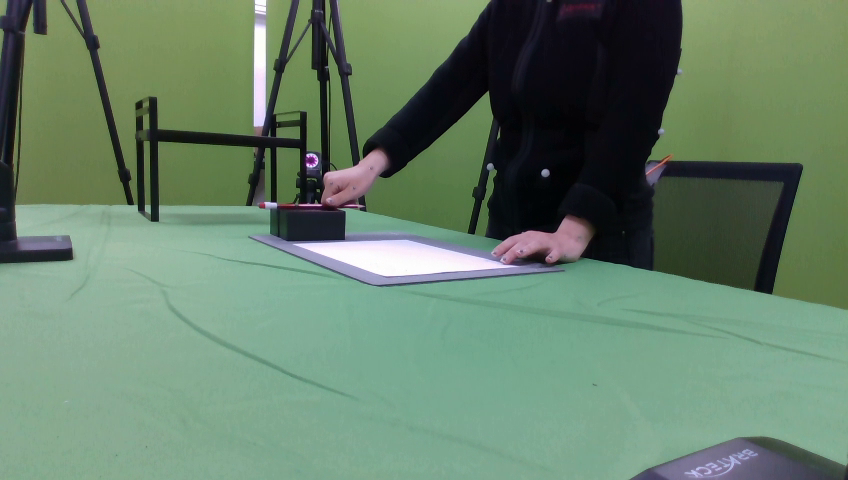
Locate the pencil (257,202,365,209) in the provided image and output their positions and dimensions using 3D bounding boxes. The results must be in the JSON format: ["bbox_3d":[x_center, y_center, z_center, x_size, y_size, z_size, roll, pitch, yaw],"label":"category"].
[{"bbox_3d":[-0.191,-0.060,1.046,0.195,0.012,0.012,-2,9,-30],"label":"pencil"}]
